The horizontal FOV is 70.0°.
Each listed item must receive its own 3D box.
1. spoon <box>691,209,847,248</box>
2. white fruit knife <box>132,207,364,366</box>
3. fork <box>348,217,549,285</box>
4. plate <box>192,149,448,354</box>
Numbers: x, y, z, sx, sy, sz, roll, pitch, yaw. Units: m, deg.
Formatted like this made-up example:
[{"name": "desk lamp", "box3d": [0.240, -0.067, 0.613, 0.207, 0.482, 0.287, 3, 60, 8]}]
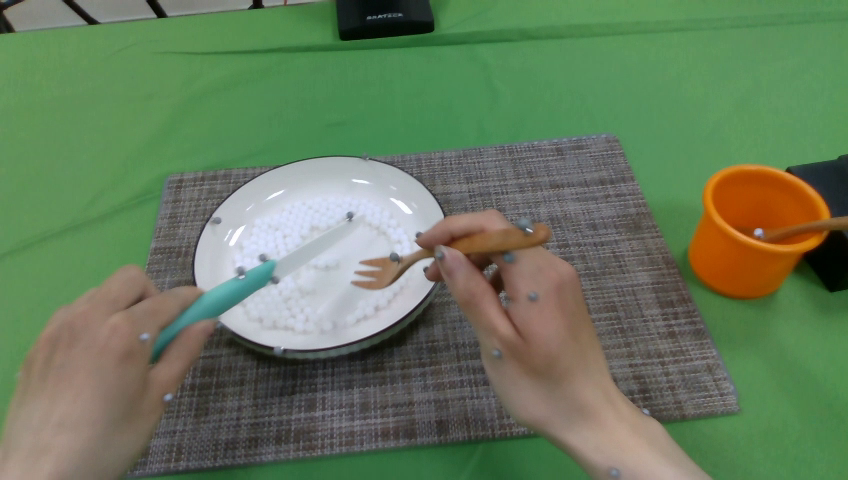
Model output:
[{"name": "spoon", "box3d": [0.284, -0.012, 0.442, 0.041, 0.193, 0.022, -34, 101, -27]}, {"name": "white fruit knife", "box3d": [-0.116, 0.022, 0.439, 0.016, 0.027, 0.207, 32, 46, 24]}, {"name": "fork", "box3d": [0.002, 0.008, 0.367, 0.019, 0.206, 0.028, 32, 67, -21]}, {"name": "plate", "box3d": [-0.082, 0.006, 0.506, 0.209, 0.038, 0.207, -1, 50, 2]}]
